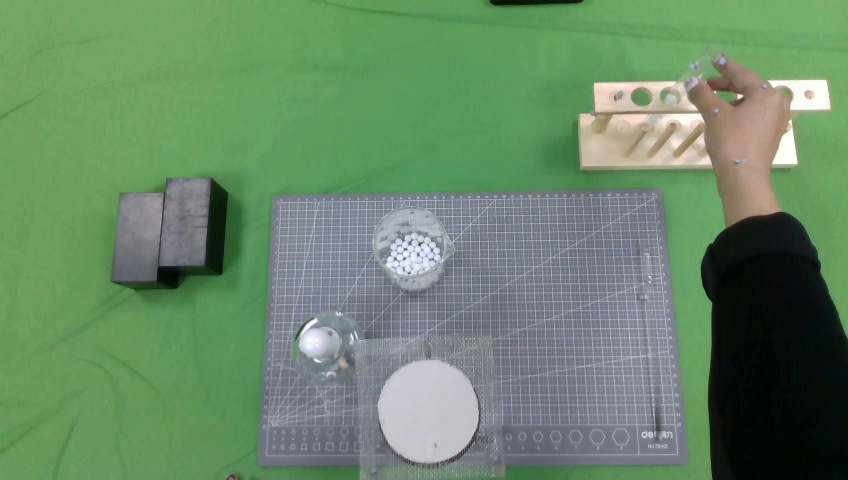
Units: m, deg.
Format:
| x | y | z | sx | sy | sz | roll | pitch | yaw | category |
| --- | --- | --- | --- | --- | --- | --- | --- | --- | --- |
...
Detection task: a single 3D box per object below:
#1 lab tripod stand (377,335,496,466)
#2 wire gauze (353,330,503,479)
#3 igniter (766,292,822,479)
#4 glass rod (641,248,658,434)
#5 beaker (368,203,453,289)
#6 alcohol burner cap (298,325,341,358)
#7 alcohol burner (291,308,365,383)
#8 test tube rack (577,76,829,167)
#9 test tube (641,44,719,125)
| x | y | z | sx | sy | sz | roll | pitch | yaw | category |
| --- | --- | --- | --- | --- | --- | --- | --- | --- | --- |
| 0.005 | 0.160 | 0.586 | 0.148 | 0.132 | 0.147 | -1 | 76 | 4 | lab tripod stand |
| 0.002 | 0.140 | 0.522 | 0.125 | 0.011 | 0.121 | -4 | 75 | 1 | wire gauze |
| 0.380 | 0.191 | 0.623 | 0.057 | 0.025 | 0.275 | 9 | 77 | -6 | igniter |
| 0.244 | 0.107 | 0.654 | 0.008 | 0.008 | 0.199 | 0 | 80 | 2 | glass rod |
| -0.011 | 0.011 | 0.639 | 0.084 | 0.101 | 0.073 | 8 | 77 | 4 | beaker |
| -0.101 | 0.097 | 0.578 | 0.034 | 0.048 | 0.033 | -1 | 80 | 8 | alcohol burner cap |
| -0.100 | 0.104 | 0.613 | 0.078 | 0.120 | 0.077 | -1 | 74 | 2 | alcohol burner |
| 0.300 | -0.128 | 0.671 | 0.242 | 0.085 | 0.066 | -1 | 76 | 2 | test tube rack |
| 0.260 | -0.156 | 0.628 | 0.017 | 0.151 | 0.017 | 1 | 75 | -3 | test tube |
